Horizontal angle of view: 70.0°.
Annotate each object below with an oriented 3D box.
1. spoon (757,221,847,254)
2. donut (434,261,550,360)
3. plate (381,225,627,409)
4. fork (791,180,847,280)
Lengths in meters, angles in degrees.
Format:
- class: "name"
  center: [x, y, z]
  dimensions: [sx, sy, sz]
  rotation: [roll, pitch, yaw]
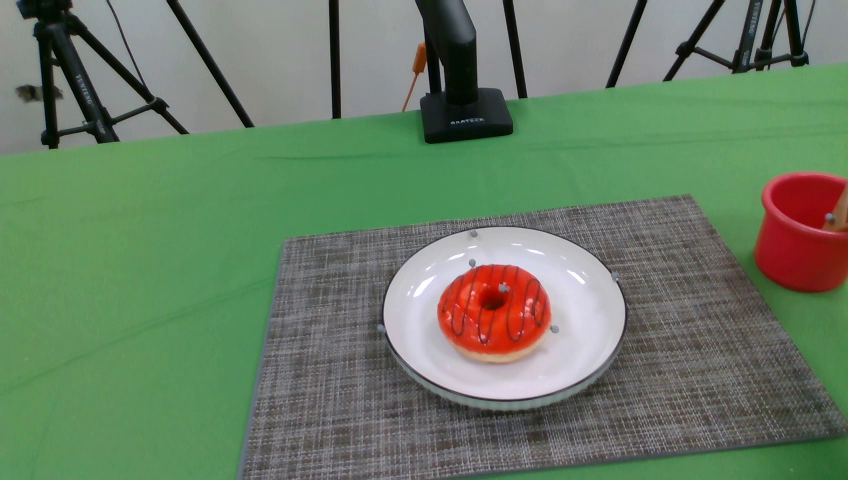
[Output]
- class: "spoon"
  center: [0.366, -0.012, 0.504]
  dimensions: [0.041, 0.193, 0.021]
  rotation: [-34, 92, -21]
- class: "donut"
  center: [0.058, 0.060, 0.519]
  dimensions: [0.099, 0.049, 0.098]
  rotation: [-4, 42, 4]
- class: "plate"
  center: [0.068, 0.064, 0.530]
  dimensions: [0.209, 0.038, 0.207]
  rotation: [-3, 39, 3]
- class: "fork"
  center: [0.390, -0.056, 0.544]
  dimensions: [0.019, 0.207, 0.028]
  rotation: [24, 4, -20]
